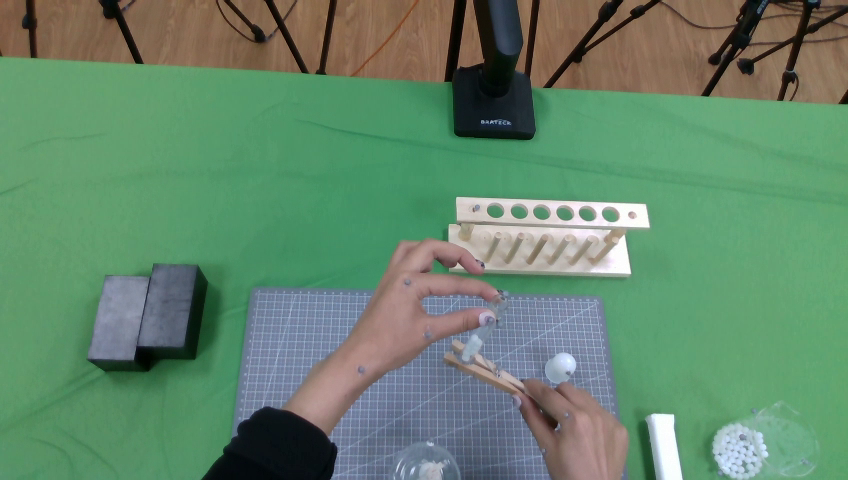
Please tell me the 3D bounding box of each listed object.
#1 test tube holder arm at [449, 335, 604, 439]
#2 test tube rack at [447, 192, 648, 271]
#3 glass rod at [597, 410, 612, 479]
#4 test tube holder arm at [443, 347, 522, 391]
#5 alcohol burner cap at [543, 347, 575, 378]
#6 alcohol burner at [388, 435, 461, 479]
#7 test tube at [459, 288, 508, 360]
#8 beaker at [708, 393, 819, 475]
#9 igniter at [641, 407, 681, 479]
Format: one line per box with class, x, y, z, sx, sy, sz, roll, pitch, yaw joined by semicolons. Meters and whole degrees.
test tube holder arm;0.102;0.149;0.619;0.177;0.015;0.013;29;65;15
test tube rack;0.155;-0.008;0.780;0.243;0.086;0.066;2;64;-5
glass rod;0.211;0.293;0.684;0.008;0.008;0.198;2;65;-6
test tube holder arm;0.061;0.134;0.628;0.087;0.015;0.010;21;62;12
alcohol burner cap;0.166;0.145;0.730;0.034;0.048;0.033;2;65;-5
alcohol burner;0.002;0.239;0.628;0.078;0.120;0.077;2;62;-4
test tube;0.053;0.083;0.570;0.017;0.151;0.017;4;60;-7
beaker;0.378;0.224;0.687;0.074;0.101;0.083;14;63;1
igniter;0.278;0.325;0.669;0.057;0.025;0.274;6;64;-14
